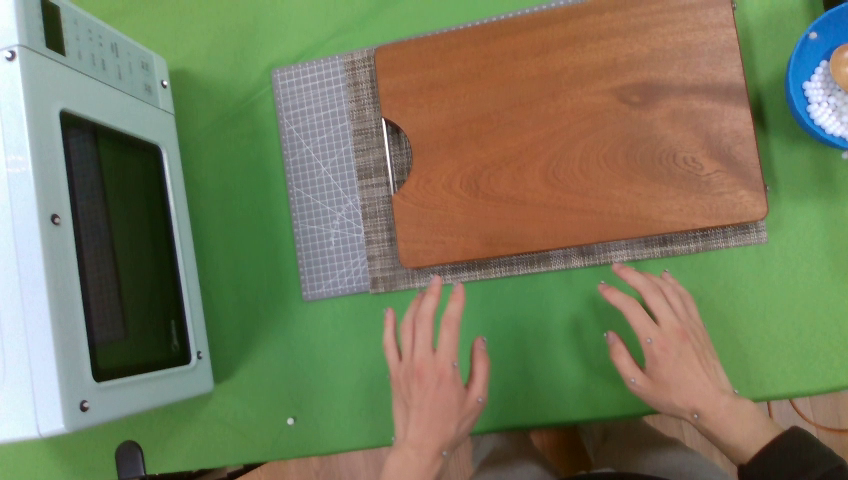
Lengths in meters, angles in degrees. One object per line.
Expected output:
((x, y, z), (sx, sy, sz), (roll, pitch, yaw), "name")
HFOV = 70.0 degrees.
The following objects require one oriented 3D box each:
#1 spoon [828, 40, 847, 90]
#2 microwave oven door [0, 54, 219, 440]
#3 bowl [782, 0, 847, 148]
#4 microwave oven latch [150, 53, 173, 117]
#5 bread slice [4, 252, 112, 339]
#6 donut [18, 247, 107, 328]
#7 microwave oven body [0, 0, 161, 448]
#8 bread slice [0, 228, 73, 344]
((0.436, -0.113, 0.575), (0.041, 0.022, 0.192), (-11, 61, 9), "spoon")
((-0.328, 0.010, 0.657), (0.039, 0.245, 0.354), (-12, 84, 11), "microwave oven door")
((0.433, -0.158, 0.610), (0.151, 0.077, 0.151), (-1, 87, 12), "bowl")
((-0.345, -0.196, 0.778), (0.030, 0.029, 0.079), (-11, 85, 10), "microwave oven latch")
((-0.452, 0.067, 0.746), (0.131, 0.019, 0.105), (3, 92, 5), "bread slice")
((-0.426, 0.055, 0.714), (0.099, 0.048, 0.099), (0, 101, -1), "donut")
((-0.475, 0.000, 0.694), (0.325, 0.261, 0.440), (-12, 85, 10), "microwave oven body")
((-0.445, 0.060, 0.669), (0.134, 0.018, 0.106), (-23, 84, 23), "bread slice")
